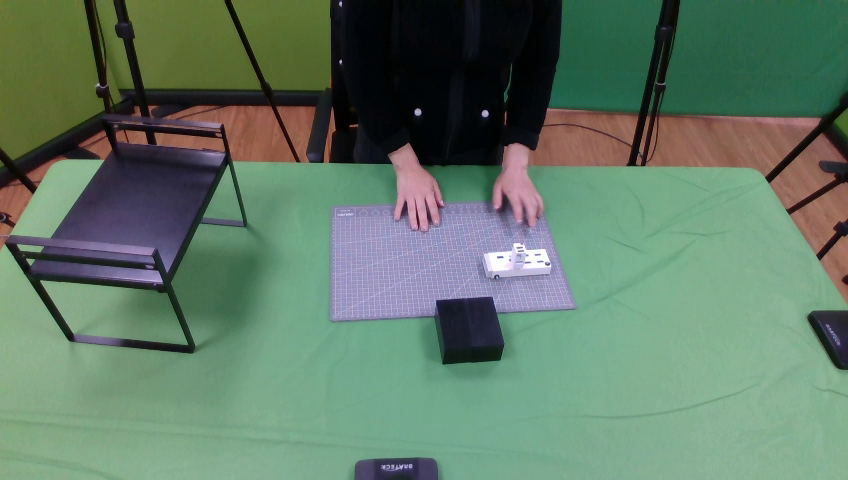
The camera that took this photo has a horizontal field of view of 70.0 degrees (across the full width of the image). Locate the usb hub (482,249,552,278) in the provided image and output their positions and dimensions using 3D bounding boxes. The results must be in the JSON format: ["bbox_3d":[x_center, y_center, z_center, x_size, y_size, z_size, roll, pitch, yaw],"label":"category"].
[{"bbox_3d":[0.178,0.045,1.159,0.125,0.025,0.049,-4,47,-7],"label":"usb hub"}]

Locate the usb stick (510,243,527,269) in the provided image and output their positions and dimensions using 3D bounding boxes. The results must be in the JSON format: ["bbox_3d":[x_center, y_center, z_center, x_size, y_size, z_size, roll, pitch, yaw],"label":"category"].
[{"bbox_3d":[0.175,0.034,1.125,0.021,0.059,0.027,-5,49,-9],"label":"usb stick"}]
